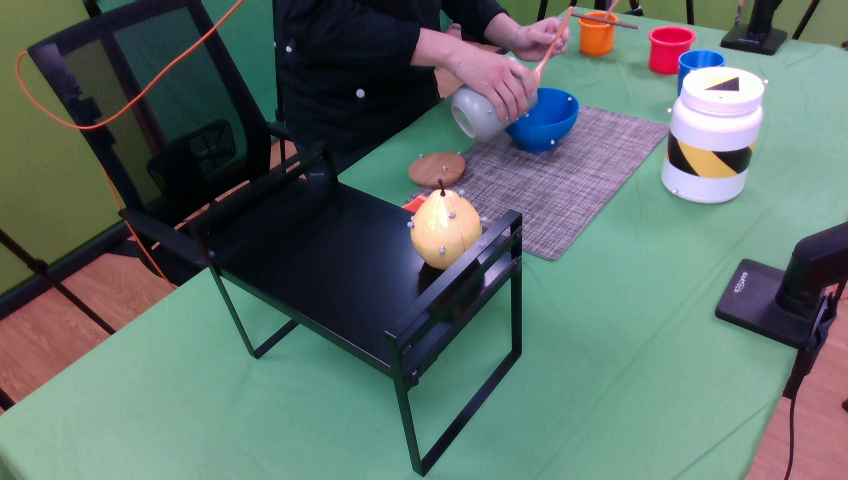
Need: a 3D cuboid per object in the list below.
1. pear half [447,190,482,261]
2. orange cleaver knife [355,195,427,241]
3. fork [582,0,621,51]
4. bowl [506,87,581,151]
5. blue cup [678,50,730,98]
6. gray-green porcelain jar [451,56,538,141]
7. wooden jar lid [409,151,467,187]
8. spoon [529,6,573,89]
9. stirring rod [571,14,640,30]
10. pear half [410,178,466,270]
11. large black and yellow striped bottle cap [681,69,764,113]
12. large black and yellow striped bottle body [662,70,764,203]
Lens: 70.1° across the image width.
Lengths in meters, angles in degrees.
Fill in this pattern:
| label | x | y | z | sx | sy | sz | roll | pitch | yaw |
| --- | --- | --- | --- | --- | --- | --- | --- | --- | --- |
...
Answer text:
| label | x | y | z | sx | sy | sz | roll | pitch | yaw |
| --- | --- | --- | --- | --- | --- | --- | --- | --- | --- |
| pear half | 0.046 | -0.020 | 0.664 | 0.031 | 0.088 | 0.070 | -17 | 38 | -9 |
| orange cleaver knife | -0.037 | -0.029 | 0.973 | 0.210 | 0.077 | 0.012 | -8 | 33 | 50 |
| fork | 0.446 | -0.539 | 1.438 | 0.207 | 0.019 | 0.028 | -57 | 36 | 12 |
| bowl | 0.220 | -0.223 | 1.156 | 0.151 | 0.077 | 0.150 | -4 | 40 | 4 |
| blue cup | 0.542 | -0.310 | 1.194 | 0.092 | 0.101 | 0.092 | -6 | 41 | 6 |
| gray-green porcelain jar | 0.120 | -0.245 | 1.068 | 0.126 | 0.106 | 0.105 | -37 | 46 | -8 |
| wooden jar lid | 0.026 | -0.131 | 1.124 | 0.108 | 0.021 | 0.108 | -8 | 36 | 6 |
| spoon | 0.224 | -0.340 | 1.098 | 0.041 | 0.022 | 0.193 | 22 | 80 | 49 |
| stirring rod | 0.419 | -0.508 | 1.404 | 0.174 | 0.006 | 0.014 | 28 | 55 | 35 |
| pear half | 0.011 | -0.019 | 0.654 | 0.056 | 0.110 | 0.076 | -16 | 37 | -9 |
| large black and yellow striped bottle cap | 0.453 | -0.229 | 0.921 | 0.115 | 0.019 | 0.114 | -4 | 39 | 4 |
| large black and yellow striped bottle body | 0.464 | -0.166 | 0.976 | 0.131 | 0.185 | 0.130 | -5 | 41 | 5 |
